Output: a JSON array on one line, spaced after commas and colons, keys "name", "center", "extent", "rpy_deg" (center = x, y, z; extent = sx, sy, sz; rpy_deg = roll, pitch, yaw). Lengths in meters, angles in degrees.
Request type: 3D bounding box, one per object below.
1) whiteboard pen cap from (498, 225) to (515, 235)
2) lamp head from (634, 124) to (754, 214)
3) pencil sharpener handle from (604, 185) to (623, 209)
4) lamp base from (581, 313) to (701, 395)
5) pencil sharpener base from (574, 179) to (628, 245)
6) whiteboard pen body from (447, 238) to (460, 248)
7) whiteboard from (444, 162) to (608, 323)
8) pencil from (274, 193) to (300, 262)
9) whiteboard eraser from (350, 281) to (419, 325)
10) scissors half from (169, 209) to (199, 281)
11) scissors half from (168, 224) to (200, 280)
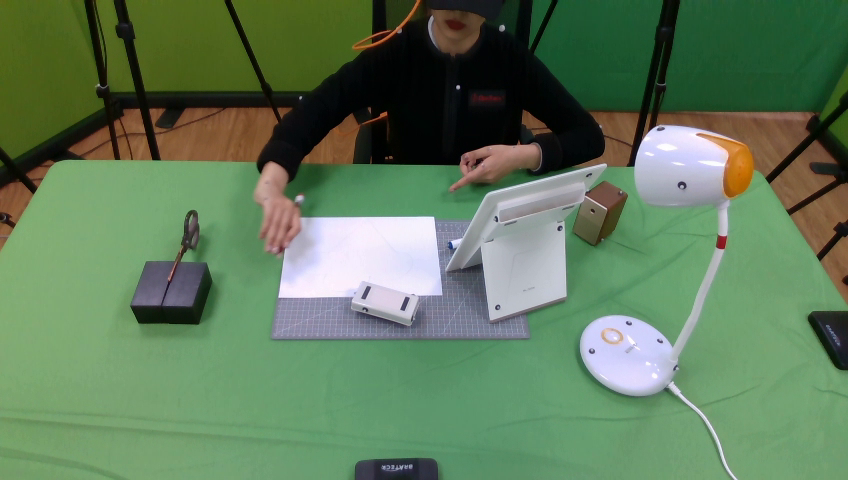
[{"name": "whiteboard pen cap", "center": [0.166, -0.019, 1.222], "extent": [0.033, 0.018, 0.018], "rpy_deg": [-14, 49, -19]}, {"name": "lamp head", "center": [0.351, -0.089, 0.775], "extent": [0.112, 0.113, 0.122], "rpy_deg": [-30, 30, -28]}, {"name": "pencil sharpener handle", "center": [0.390, -0.091, 1.235], "extent": [0.030, 0.068, 0.036], "rpy_deg": [-33, 69, -31]}, {"name": "lamp base", "center": [0.361, 0.144, 0.972], "extent": [0.178, 0.181, 0.160], "rpy_deg": [34, 53, 23]}, {"name": "pencil sharpener base", "center": [0.355, -0.057, 1.217], "extent": [0.076, 0.107, 0.061], "rpy_deg": [-33, 56, -31]}, {"name": "whiteboard pen body", "center": [0.112, -0.005, 1.204], "extent": [0.141, 0.017, 0.017], "rpy_deg": [-13, 49, -18]}, {"name": "whiteboard", "center": [0.186, 0.025, 1.029], "extent": [0.217, 0.306, 0.143], "rpy_deg": [-14, 68, -18]}, {"name": "pencil", "center": [-0.262, -0.027, 1.158], "extent": [0.012, 0.012, 0.193], "rpy_deg": [5, 43, 1]}, {"name": "whiteboard eraser", "center": [-0.069, 0.113, 1.065], "extent": [0.112, 0.042, 0.055], "rpy_deg": [14, 46, 10]}, {"name": "scissors half", "center": [-0.438, 0.007, 1.098], "extent": [0.013, 0.040, 0.174], "rpy_deg": [3, 48, -3]}, {"name": "scissors half", "center": [-0.440, 0.023, 1.111], "extent": [0.013, 0.040, 0.174], "rpy_deg": [7, 29, -6]}]
